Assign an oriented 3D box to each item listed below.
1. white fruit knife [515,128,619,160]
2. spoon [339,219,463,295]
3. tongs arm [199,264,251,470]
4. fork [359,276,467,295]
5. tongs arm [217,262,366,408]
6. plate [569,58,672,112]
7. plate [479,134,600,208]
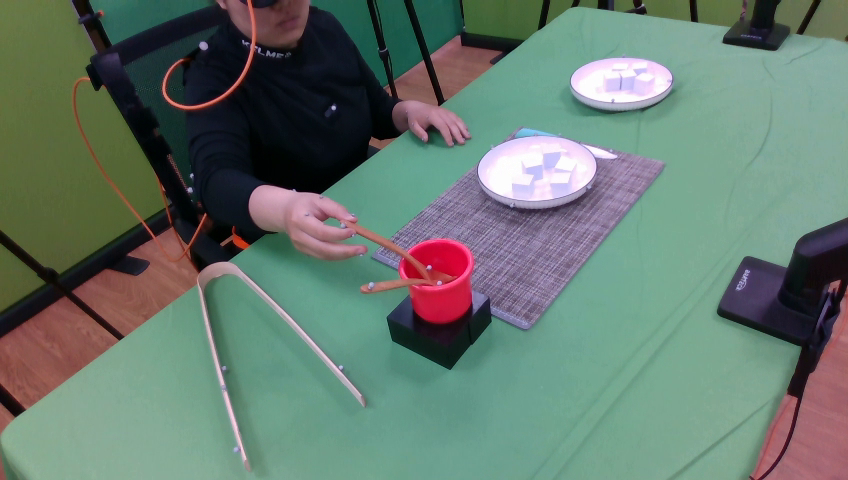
[{"bbox_3d":[0.269,-0.182,1.148,0.206,0.016,0.027,21,77,29],"label":"white fruit knife"},{"bbox_3d":[-0.026,0.021,0.778,0.021,0.195,0.041,-42,29,26],"label":"spoon"},{"bbox_3d":[-0.269,0.154,0.841,0.051,0.026,0.381,-23,40,-17],"label":"tongs arm"},{"bbox_3d":[-0.008,0.056,0.739,0.028,0.018,0.209,46,21,27],"label":"fork"},{"bbox_3d":[-0.200,0.122,0.871,0.028,0.028,0.384,-35,46,-24],"label":"tongs arm"},{"bbox_3d":[0.411,-0.323,1.274,0.209,0.038,0.208,-5,41,5],"label":"plate"},{"bbox_3d":[0.202,-0.117,1.065,0.207,0.039,0.206,-5,40,5],"label":"plate"}]
